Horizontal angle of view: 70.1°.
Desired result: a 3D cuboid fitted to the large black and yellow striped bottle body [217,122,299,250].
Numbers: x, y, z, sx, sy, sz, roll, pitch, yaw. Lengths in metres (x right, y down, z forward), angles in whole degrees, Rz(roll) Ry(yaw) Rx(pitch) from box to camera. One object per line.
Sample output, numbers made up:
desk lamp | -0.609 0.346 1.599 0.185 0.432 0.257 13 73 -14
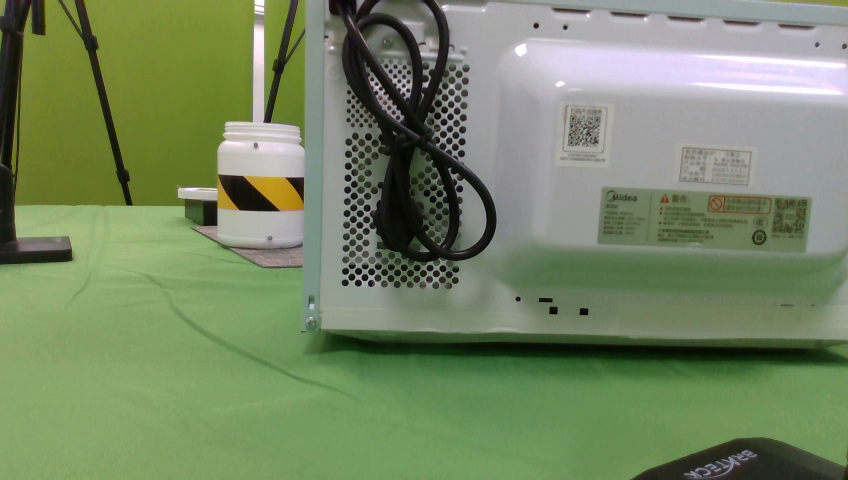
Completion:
large black and yellow striped bottle body | -0.250 -0.084 0.931 0.131 0.184 0.130 2 7 0

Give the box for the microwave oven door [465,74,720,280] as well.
microwave oven door | 0.205 -0.092 0.828 0.354 0.243 0.039 9 10 44

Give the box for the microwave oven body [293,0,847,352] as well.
microwave oven body | 0.122 -0.055 0.550 0.442 0.260 0.325 3 7 -5

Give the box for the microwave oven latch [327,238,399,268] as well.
microwave oven latch | -0.069 0.015 0.694 0.079 0.029 0.030 3 7 -3

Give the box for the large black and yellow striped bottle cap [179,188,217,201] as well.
large black and yellow striped bottle cap | -0.434 -0.093 1.226 0.115 0.019 0.115 3 9 0

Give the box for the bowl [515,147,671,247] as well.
bowl | 0.161 -0.036 0.598 0.151 0.076 0.151 7 -4 1
